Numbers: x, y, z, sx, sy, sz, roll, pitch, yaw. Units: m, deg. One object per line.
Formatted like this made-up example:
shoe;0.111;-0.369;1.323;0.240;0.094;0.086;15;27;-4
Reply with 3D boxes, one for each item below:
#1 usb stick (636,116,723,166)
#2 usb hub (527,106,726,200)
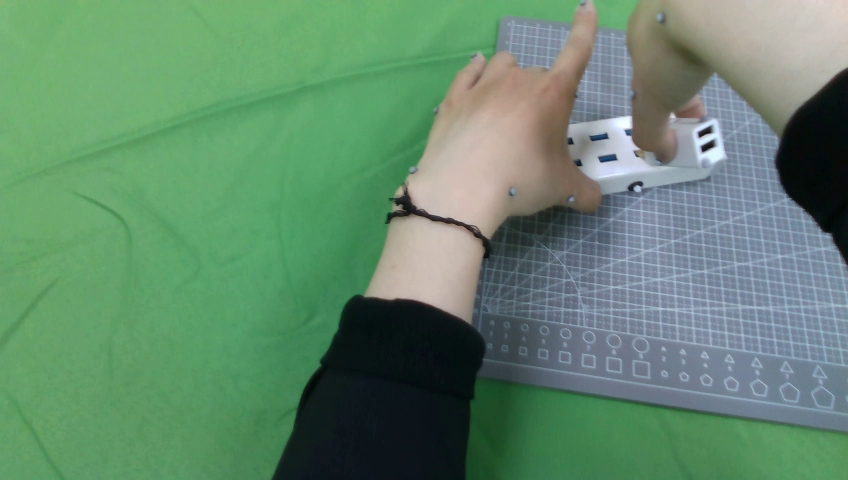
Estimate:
usb stick;0.155;-0.062;0.379;0.021;0.059;0.027;-28;106;-15
usb hub;0.138;-0.062;0.419;0.125;0.025;0.049;-8;63;-7
